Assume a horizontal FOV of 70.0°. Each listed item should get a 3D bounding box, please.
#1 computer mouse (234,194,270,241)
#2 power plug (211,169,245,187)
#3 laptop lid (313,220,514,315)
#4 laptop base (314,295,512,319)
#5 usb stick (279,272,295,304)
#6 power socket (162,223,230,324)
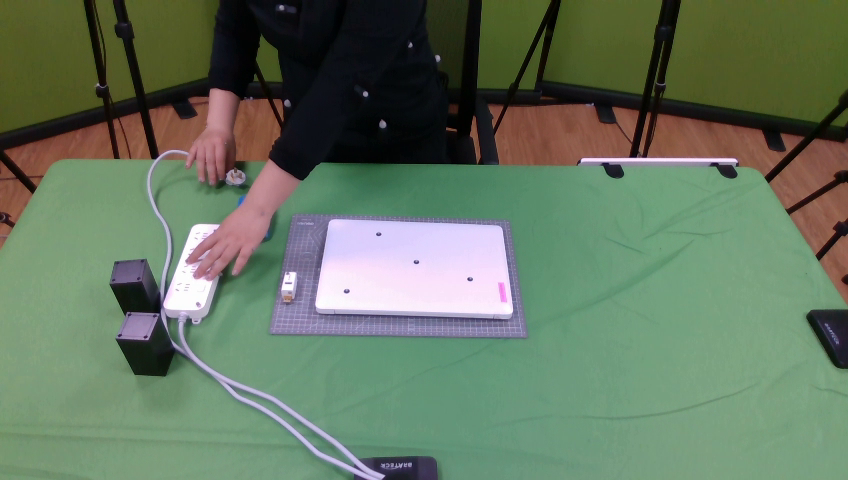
[{"bbox_3d":[-0.341,-0.049,1.207,0.063,0.041,0.116,0,51,-8],"label":"computer mouse"},{"bbox_3d":[-0.412,-0.134,1.267,0.073,0.053,0.035,20,55,-17],"label":"power plug"},{"bbox_3d":[-0.017,0.045,1.138,0.357,0.013,0.240,3,43,-1],"label":"laptop lid"},{"bbox_3d":[-0.018,0.055,1.144,0.354,0.023,0.234,2,42,-2],"label":"laptop base"},{"bbox_3d":[-0.246,0.088,1.085,0.021,0.027,0.059,4,48,-4],"label":"usb stick"},{"bbox_3d":[-0.412,0.052,1.106,0.072,0.033,0.225,4,46,-4],"label":"power socket"}]
